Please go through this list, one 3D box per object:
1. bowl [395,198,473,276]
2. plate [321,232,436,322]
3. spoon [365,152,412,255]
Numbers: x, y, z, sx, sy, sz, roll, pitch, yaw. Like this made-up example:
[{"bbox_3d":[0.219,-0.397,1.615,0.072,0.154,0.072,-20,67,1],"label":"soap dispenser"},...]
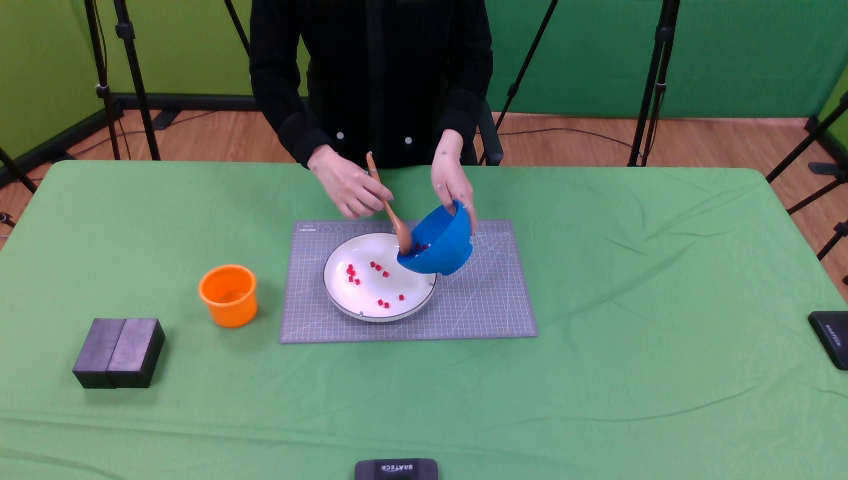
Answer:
[{"bbox_3d":[0.031,0.009,1.043,0.077,0.151,0.151,44,47,-17],"label":"bowl"},{"bbox_3d":[-0.083,0.070,1.109,0.209,0.038,0.208,3,46,-2],"label":"plate"},{"bbox_3d":[-0.063,-0.061,1.035,0.021,0.194,0.041,-10,25,36],"label":"spoon"}]
